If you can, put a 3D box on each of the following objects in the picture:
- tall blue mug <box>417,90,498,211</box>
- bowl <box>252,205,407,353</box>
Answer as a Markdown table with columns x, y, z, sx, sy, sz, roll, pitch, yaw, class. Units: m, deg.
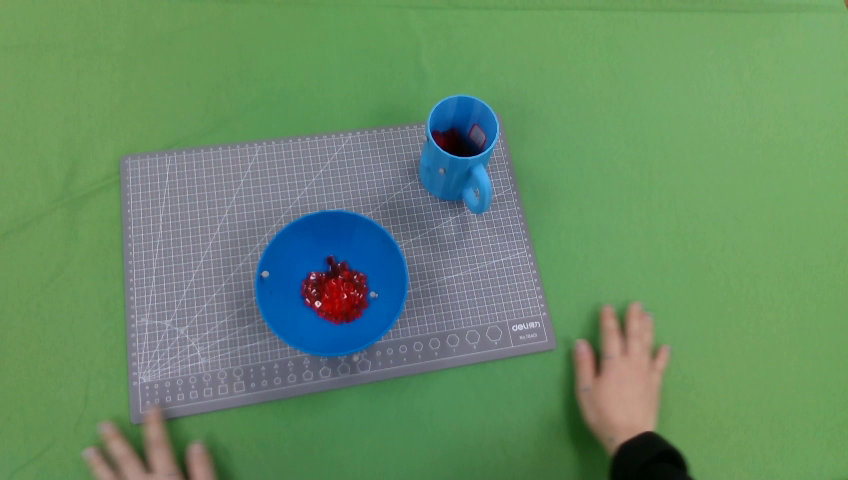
| x | y | z | sx | sy | sz | roll | pitch | yaw | class |
| --- | --- | --- | --- | --- | --- | --- | --- | --- | --- |
| 0.046 | -0.094 | 0.673 | 0.107 | 0.108 | 0.077 | 38 | 71 | 7 | tall blue mug |
| -0.095 | 0.047 | 0.630 | 0.151 | 0.077 | 0.150 | 2 | 72 | -6 | bowl |
